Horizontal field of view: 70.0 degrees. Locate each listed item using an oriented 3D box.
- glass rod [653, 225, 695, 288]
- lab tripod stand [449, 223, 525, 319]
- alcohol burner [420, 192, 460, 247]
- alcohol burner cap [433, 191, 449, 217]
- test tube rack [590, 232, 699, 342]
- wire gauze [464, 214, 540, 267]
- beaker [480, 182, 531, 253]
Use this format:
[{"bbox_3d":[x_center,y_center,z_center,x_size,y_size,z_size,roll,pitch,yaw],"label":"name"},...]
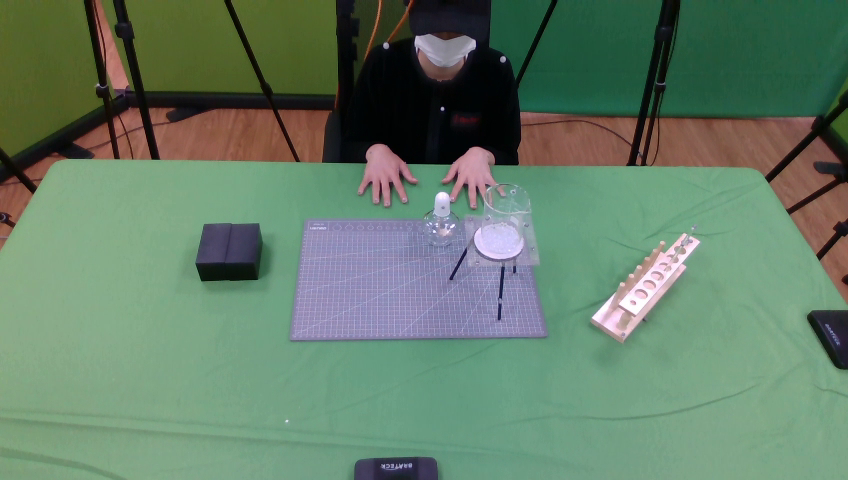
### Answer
[{"bbox_3d":[0.432,0.037,1.057,0.008,0.200,0.008,1,54,-1],"label":"glass rod"},{"bbox_3d":[0.120,0.046,1.080,0.148,0.132,0.147,1,47,-1],"label":"lab tripod stand"},{"bbox_3d":[0.032,-0.045,1.176,0.078,0.120,0.077,2,44,-1],"label":"alcohol burner"},{"bbox_3d":[0.033,-0.070,1.150,0.034,0.048,0.033,0,45,0],"label":"alcohol burner cap"},{"bbox_3d":[0.407,0.074,1.112,0.066,0.085,0.242,35,53,26],"label":"test tube rack"},{"bbox_3d":[0.131,-0.001,1.035,0.121,0.011,0.124,1,44,-2],"label":"wire gauze"},{"bbox_3d":[0.133,-0.033,0.998,0.083,0.101,0.074,26,51,22],"label":"beaker"}]
